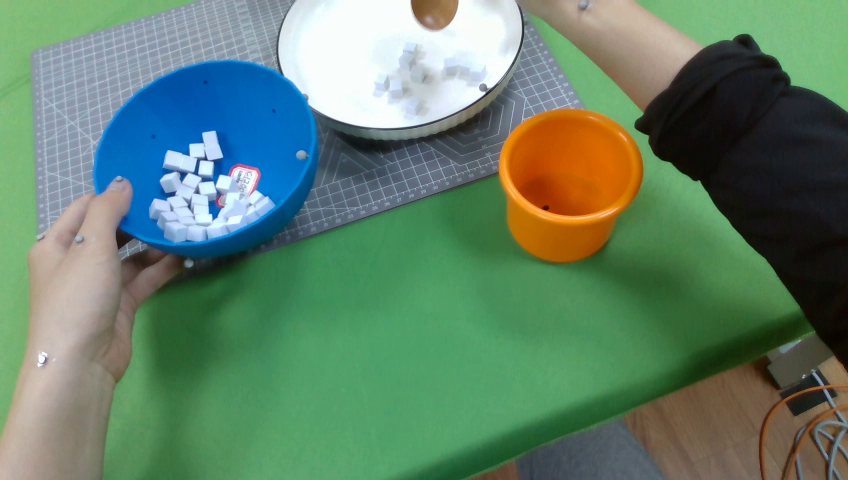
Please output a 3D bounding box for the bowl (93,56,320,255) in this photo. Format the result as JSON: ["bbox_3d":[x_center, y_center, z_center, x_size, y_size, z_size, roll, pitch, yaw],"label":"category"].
[{"bbox_3d":[-0.142,-0.048,0.436,0.151,0.077,0.150,-2,64,4],"label":"bowl"}]

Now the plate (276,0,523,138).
[{"bbox_3d":[-0.021,-0.168,0.520,0.209,0.038,0.207,-2,63,4],"label":"plate"}]

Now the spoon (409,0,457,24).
[{"bbox_3d":[0.016,-0.215,0.410,0.041,0.194,0.021,30,72,2],"label":"spoon"}]
